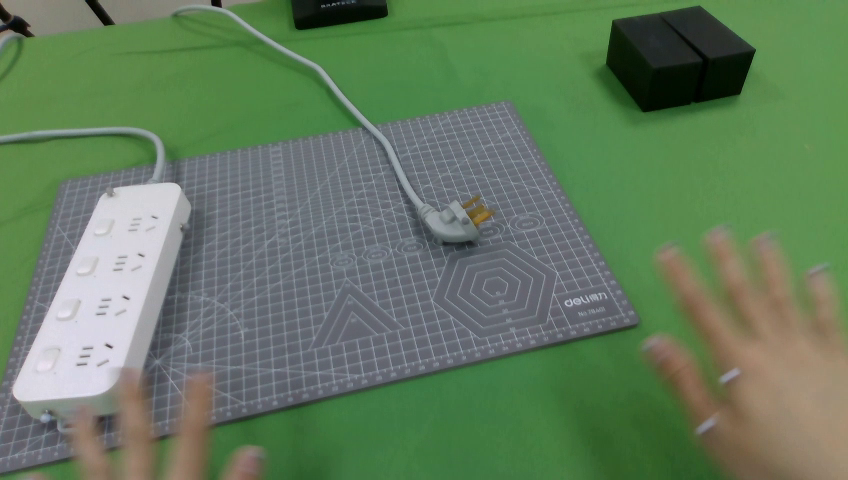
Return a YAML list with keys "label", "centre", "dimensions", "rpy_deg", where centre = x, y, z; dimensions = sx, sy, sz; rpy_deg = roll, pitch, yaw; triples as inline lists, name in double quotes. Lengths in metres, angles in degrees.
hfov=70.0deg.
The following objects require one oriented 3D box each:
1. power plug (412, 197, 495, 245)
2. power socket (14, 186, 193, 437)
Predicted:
- label: "power plug"
  centre: [0.022, -0.026, 0.496]
  dimensions: [0.052, 0.035, 0.072]
  rpy_deg: [-32, 62, -2]
- label: "power socket"
  centre: [-0.234, 0.038, 0.462]
  dimensions: [0.072, 0.033, 0.224]
  rpy_deg: [-4, 46, 0]
